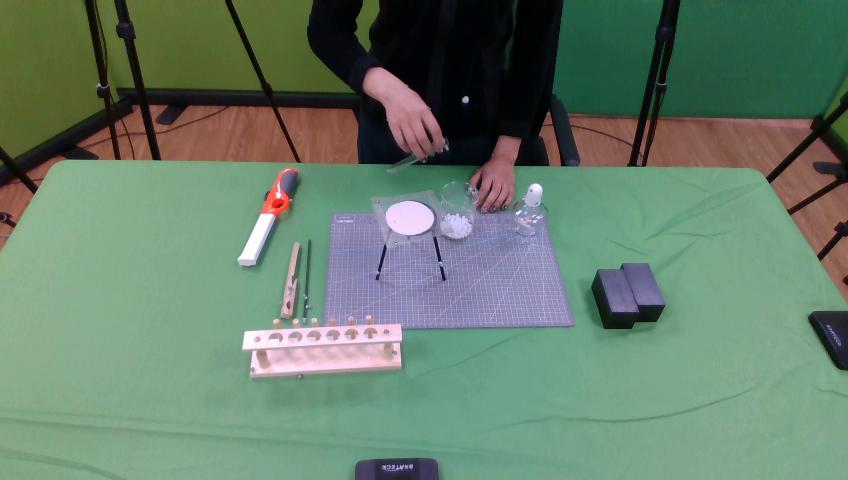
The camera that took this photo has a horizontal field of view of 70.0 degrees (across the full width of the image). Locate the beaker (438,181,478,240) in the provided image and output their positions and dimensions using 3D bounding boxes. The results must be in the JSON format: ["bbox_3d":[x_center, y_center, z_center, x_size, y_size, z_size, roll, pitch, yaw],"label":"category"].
[{"bbox_3d":[0.066,-0.053,1.200,0.074,0.101,0.083,-17,50,-19],"label":"beaker"}]

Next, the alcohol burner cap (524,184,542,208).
[{"bbox_3d":[0.216,-0.089,1.186,0.034,0.048,0.033,1,55,-2],"label":"alcohol burner cap"}]

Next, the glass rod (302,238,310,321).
[{"bbox_3d":[-0.218,0.069,1.125,0.008,0.008,0.198,-2,47,-5],"label":"glass rod"}]

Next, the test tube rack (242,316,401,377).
[{"bbox_3d":[-0.161,0.166,0.983,0.242,0.085,0.066,-2,46,-6],"label":"test tube rack"}]

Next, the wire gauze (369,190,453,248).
[{"bbox_3d":[-0.024,-0.042,1.064,0.121,0.011,0.124,-10,48,-16],"label":"wire gauze"}]

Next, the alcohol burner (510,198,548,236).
[{"bbox_3d":[0.214,-0.066,1.213,0.078,0.119,0.077,3,48,-3],"label":"alcohol burner"}]

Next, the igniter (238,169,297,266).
[{"bbox_3d":[-0.313,-0.054,1.224,0.057,0.025,0.275,1,45,10],"label":"igniter"}]

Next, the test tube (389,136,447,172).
[{"bbox_3d":[-0.014,-0.159,1.135,0.017,0.150,0.017,21,59,-40],"label":"test tube"}]

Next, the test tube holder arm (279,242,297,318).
[{"bbox_3d":[-0.249,0.069,1.113,0.013,0.015,0.177,25,38,-28],"label":"test tube holder arm"}]

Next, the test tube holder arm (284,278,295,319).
[{"bbox_3d":[-0.241,0.103,1.085,0.010,0.015,0.087,26,38,-28],"label":"test tube holder arm"}]

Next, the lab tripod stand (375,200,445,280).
[{"bbox_3d":[-0.023,0.004,1.114,0.148,0.132,0.147,4,45,-3],"label":"lab tripod stand"}]
